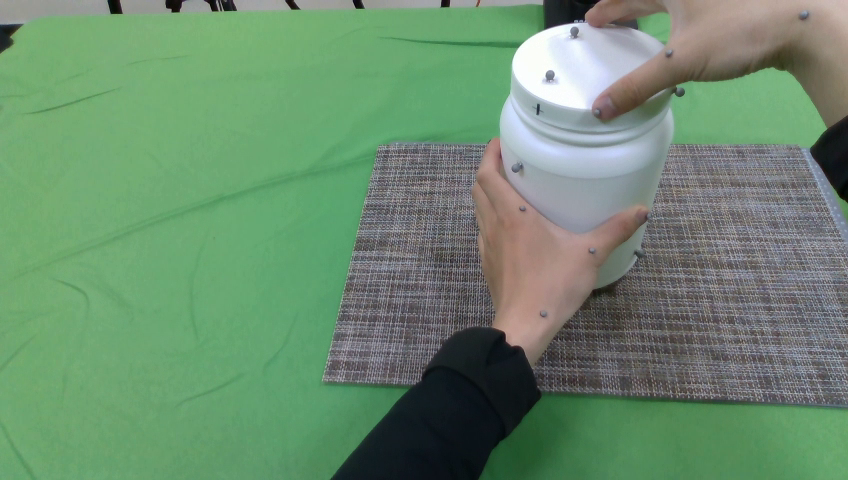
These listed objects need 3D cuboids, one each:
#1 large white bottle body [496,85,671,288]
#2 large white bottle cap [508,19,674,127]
[{"bbox_3d":[0.125,-0.063,0.499,0.130,0.186,0.129,-3,48,3],"label":"large white bottle body"},{"bbox_3d":[0.119,-0.122,0.434,0.115,0.018,0.113,-3,48,3],"label":"large white bottle cap"}]
